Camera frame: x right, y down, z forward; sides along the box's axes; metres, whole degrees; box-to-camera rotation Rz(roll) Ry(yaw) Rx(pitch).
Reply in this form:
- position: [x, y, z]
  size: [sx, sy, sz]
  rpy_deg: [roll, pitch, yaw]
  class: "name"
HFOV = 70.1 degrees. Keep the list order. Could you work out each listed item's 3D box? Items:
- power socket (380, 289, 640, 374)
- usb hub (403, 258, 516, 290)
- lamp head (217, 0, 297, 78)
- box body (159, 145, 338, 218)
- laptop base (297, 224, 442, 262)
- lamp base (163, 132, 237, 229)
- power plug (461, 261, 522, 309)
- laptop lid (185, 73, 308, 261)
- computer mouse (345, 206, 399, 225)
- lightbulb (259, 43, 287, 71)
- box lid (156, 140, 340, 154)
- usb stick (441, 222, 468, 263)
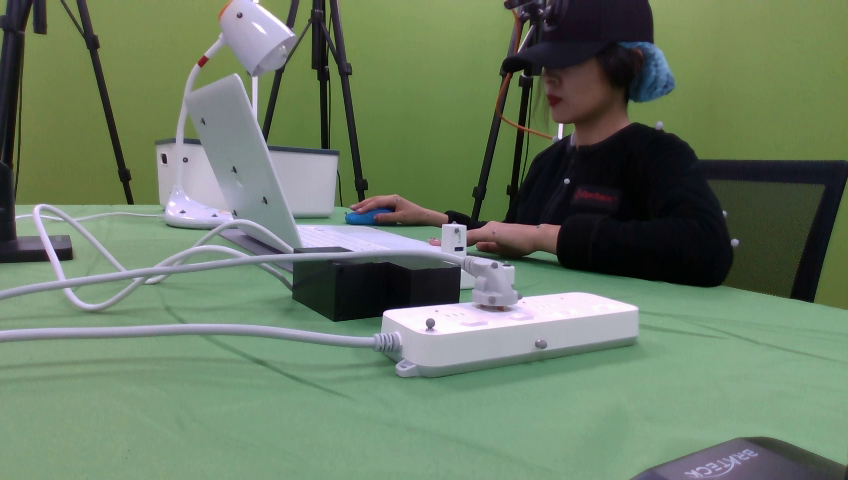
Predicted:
- position: [0.072, 0.064, 0.461]
  size: [0.228, 0.032, 0.072]
  rpy_deg: [-3, 7, -30]
  class: "power socket"
- position: [0.042, 0.038, 0.690]
  size: [0.126, 0.025, 0.049]
  rpy_deg: [-2, 9, -30]
  class: "usb hub"
- position: [-0.315, -0.372, 1.102]
  size: [0.123, 0.112, 0.112]
  rpy_deg: [41, 2, -9]
  class: "lamp head"
- position: [-0.410, -0.139, 1.414]
  size: [0.366, 0.160, 0.253]
  rpy_deg: [-3, 8, -33]
  class: "box body"
- position: [-0.127, 0.003, 0.945]
  size: [0.237, 0.023, 0.352]
  rpy_deg: [2, 6, -31]
  class: "laptop base"
- position: [-0.419, -0.116, 1.156]
  size: [0.179, 0.180, 0.160]
  rpy_deg: [0, 7, 0]
  class: "lamp base"
- position: [0.043, 0.043, 0.444]
  size: [0.035, 0.052, 0.073]
  rpy_deg: [-5, 8, 44]
  class: "power plug"
- position: [-0.262, -0.101, 0.850]
  size: [0.013, 0.242, 0.355]
  rpy_deg: [-26, 21, -25]
  class: "laptop lid"
- position: [-0.114, -0.054, 1.337]
  size: [0.118, 0.041, 0.062]
  rpy_deg: [-3, 9, -20]
  class: "computer mouse"
- position: [-0.295, -0.357, 1.103]
  size: [0.059, 0.107, 0.059]
  rpy_deg: [-37, 0, 0]
  class: "lightbulb"
- position: [-0.409, -0.212, 1.404]
  size: [0.373, 0.015, 0.262]
  rpy_deg: [-2, 8, -32]
  class: "box lid"
- position: [0.034, 0.009, 0.685]
  size: [0.021, 0.059, 0.027]
  rpy_deg: [-2, 10, -30]
  class: "usb stick"
